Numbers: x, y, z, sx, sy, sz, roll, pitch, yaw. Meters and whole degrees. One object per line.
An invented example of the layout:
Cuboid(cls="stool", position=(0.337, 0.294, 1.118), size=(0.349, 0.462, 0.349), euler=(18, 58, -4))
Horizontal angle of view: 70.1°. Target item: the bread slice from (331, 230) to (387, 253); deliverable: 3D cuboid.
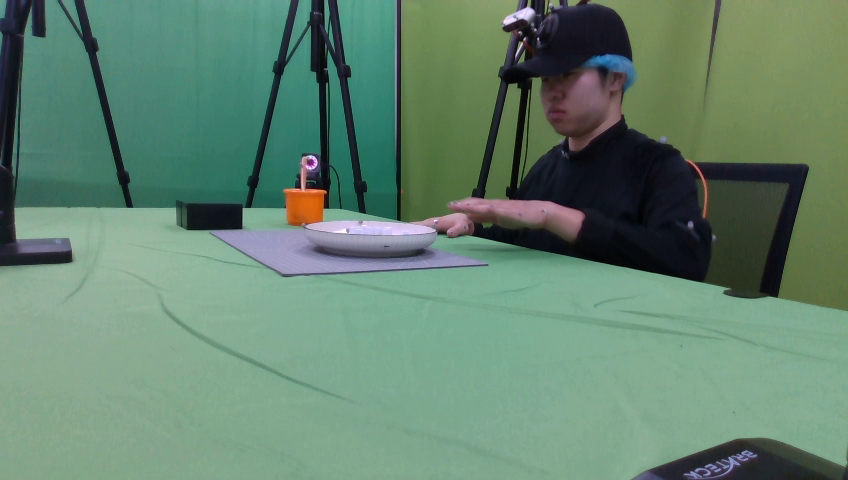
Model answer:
Cuboid(cls="bread slice", position=(-0.088, 0.000, 0.947), size=(0.105, 0.019, 0.131), euler=(-4, 11, -44))

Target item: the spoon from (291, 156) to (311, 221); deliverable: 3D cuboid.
Cuboid(cls="spoon", position=(-0.268, -0.117, 1.330), size=(0.042, 0.021, 0.193), euler=(2, 47, -12))

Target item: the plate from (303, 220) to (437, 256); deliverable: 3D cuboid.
Cuboid(cls="plate", position=(-0.084, -0.003, 0.951), size=(0.209, 0.038, 0.209), euler=(3, 7, 0))
